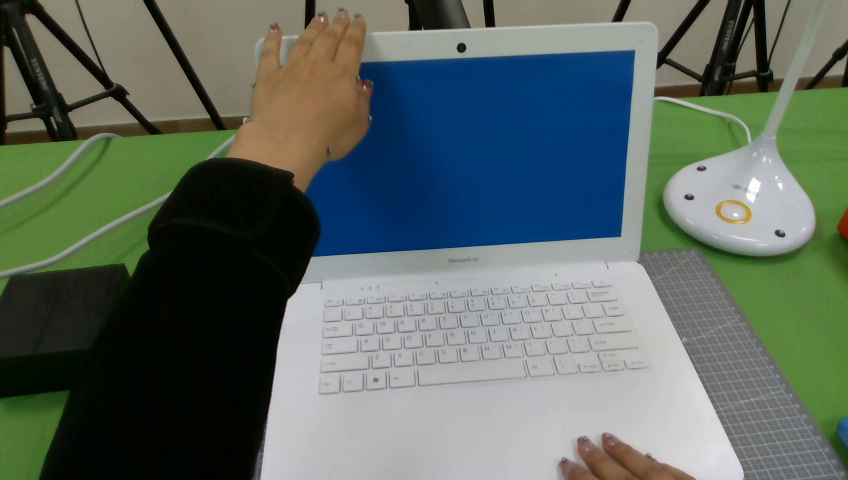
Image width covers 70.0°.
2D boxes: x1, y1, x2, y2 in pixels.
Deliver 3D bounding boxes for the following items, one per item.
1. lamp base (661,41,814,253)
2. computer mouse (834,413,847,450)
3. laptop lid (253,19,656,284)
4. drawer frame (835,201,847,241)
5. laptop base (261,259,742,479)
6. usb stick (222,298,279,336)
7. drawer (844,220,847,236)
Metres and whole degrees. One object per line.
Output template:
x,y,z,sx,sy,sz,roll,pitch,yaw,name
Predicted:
0.354,-0.107,0.640,0.159,0.182,0.178,19,43,21,lamp base
0.357,0.168,0.435,0.063,0.041,0.116,-4,37,-2,computer mouse
0.034,-0.074,0.561,0.357,0.243,0.013,-5,20,-3,laptop lid
0.552,0.021,0.566,0.202,0.083,0.211,-6,41,-5,drawer frame
0.049,0.113,0.515,0.355,0.023,0.233,-4,45,-4,laptop base
-0.149,0.069,0.549,0.059,0.027,0.021,-5,40,-5,usb stick
0.554,0.024,0.565,0.195,0.074,0.209,-5,41,-4,drawer
